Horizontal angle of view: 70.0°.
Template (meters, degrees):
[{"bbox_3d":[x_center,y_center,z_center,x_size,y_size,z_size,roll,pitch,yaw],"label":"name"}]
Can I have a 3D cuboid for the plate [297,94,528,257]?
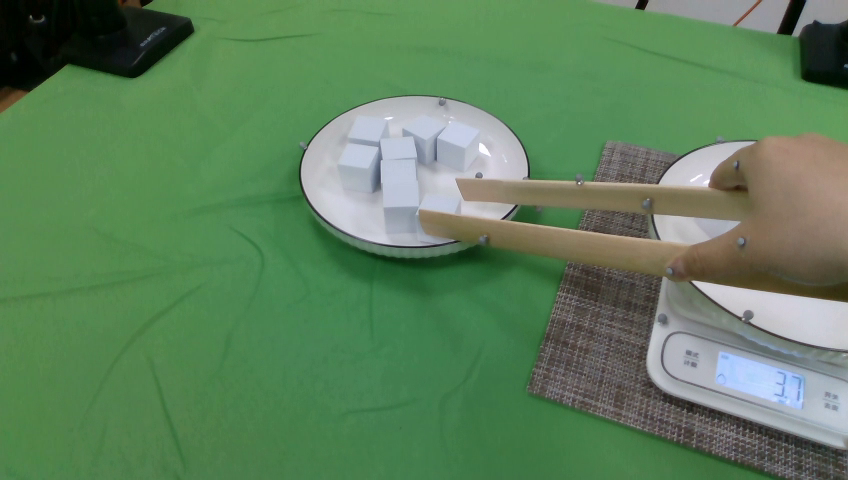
[{"bbox_3d":[-0.010,-0.059,0.558,0.209,0.038,0.207,0,48,0],"label":"plate"}]

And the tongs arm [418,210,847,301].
[{"bbox_3d":[0.146,0.005,0.375,0.384,0.028,0.028,8,37,39],"label":"tongs arm"}]

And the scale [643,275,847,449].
[{"bbox_3d":[0.257,0.046,0.463,0.148,0.032,0.200,17,51,15],"label":"scale"}]

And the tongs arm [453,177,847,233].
[{"bbox_3d":[0.165,-0.014,0.394,0.382,0.027,0.050,7,39,38],"label":"tongs arm"}]

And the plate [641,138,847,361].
[{"bbox_3d":[0.267,0.004,0.456,0.208,0.039,0.205,1,49,0],"label":"plate"}]
